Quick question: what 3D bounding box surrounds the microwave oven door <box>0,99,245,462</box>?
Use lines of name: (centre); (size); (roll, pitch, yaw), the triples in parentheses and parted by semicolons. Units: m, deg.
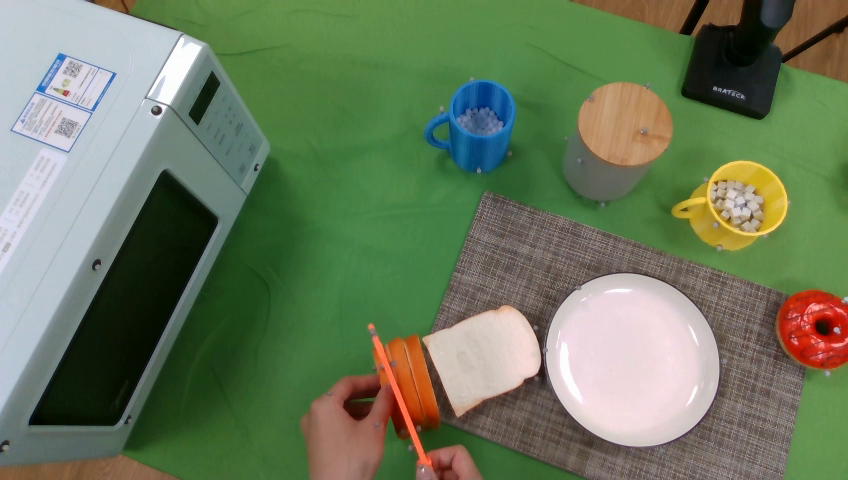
microwave oven door: (-0.319, 0.055, 0.653); (0.039, 0.245, 0.354); (20, 75, 7)

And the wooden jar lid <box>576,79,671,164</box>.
wooden jar lid: (0.231, -0.137, 0.709); (0.108, 0.021, 0.107); (0, 72, 1)

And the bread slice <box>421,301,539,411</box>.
bread slice: (0.075, 0.138, 0.747); (0.131, 0.019, 0.104); (-22, 74, -1)

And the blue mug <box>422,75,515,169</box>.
blue mug: (0.055, -0.150, 0.792); (0.116, 0.106, 0.082); (-6, 73, 0)

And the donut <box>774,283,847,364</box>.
donut: (0.479, 0.102, 0.739); (0.099, 0.048, 0.098); (0, 75, 2)

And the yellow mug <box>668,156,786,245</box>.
yellow mug: (0.381, -0.048, 0.777); (0.131, 0.064, 0.099); (-3, 74, 1)

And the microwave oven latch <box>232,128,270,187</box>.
microwave oven latch: (-0.234, -0.113, 0.804); (0.030, 0.029, 0.079); (23, 77, 7)

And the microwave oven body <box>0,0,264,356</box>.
microwave oven body: (-0.439, -0.030, 0.685); (0.325, 0.261, 0.440); (20, 76, 7)

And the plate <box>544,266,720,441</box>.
plate: (0.248, 0.136, 0.739); (0.207, 0.039, 0.206); (0, 74, 2)

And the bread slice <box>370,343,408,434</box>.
bread slice: (-0.041, 0.166, 0.693); (0.018, 0.135, 0.106); (-16, 73, -7)

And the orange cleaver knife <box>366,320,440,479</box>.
orange cleaver knife: (-0.014, 0.177, 0.590); (0.012, 0.077, 0.211); (-22, 91, -8)

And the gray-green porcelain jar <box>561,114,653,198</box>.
gray-green porcelain jar: (0.233, -0.119, 0.769); (0.106, 0.127, 0.105); (0, 74, 1)
